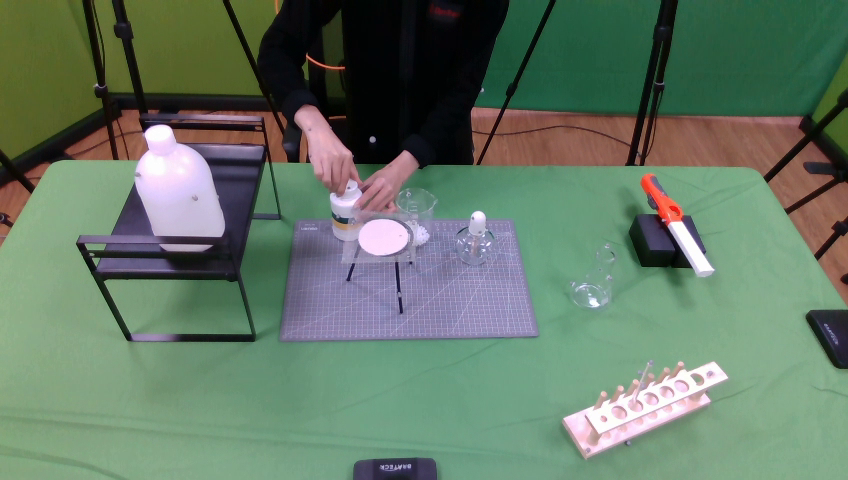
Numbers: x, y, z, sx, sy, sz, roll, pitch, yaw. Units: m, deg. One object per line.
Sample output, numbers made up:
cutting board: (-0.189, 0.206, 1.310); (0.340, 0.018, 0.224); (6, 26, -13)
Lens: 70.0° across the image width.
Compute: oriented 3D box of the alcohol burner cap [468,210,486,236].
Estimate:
alcohol burner cap: (0.099, -0.034, 1.119); (0.034, 0.048, 0.033); (0, 53, 0)

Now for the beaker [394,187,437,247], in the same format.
beaker: (-0.018, -0.042, 1.179); (0.084, 0.101, 0.073); (-8, 48, -13)

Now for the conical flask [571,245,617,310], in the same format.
conical flask: (0.313, 0.064, 1.089); (0.075, 0.122, 0.075); (2, 46, -2)

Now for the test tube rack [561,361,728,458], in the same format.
test tube rack: (0.341, 0.248, 0.940); (0.243, 0.085, 0.066); (-15, 48, -18)

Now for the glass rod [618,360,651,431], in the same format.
glass rod: (0.298, 0.227, 0.865); (0.008, 0.201, 0.008); (-1, 48, 2)

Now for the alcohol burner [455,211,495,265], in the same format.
alcohol burner: (0.097, -0.010, 1.147); (0.078, 0.120, 0.077); (1, 47, 0)

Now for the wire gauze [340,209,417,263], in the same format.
wire gauze: (-0.074, -0.006, 1.023); (0.121, 0.011, 0.124); (3, 46, 0)

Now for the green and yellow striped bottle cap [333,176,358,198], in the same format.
green and yellow striped bottle cap: (-0.147, -0.100, 1.133); (0.045, 0.020, 0.045); (4, 43, -3)

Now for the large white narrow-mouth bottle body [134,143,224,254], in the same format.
large white narrow-mouth bottle body: (-0.358, -0.075, 0.875); (0.102, 0.195, 0.101); (1, 48, -1)

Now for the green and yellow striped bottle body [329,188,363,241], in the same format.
green and yellow striped bottle body: (-0.150, -0.060, 1.172); (0.063, 0.120, 0.063); (2, 46, -2)

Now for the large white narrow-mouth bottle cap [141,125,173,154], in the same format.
large white narrow-mouth bottle cap: (-0.356, -0.134, 0.810); (0.038, 0.024, 0.037); (2, 48, -1)

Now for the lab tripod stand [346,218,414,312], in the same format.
lab tripod stand: (-0.070, 0.037, 1.075); (0.148, 0.132, 0.147); (1, 47, -1)

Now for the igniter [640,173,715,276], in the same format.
igniter: (0.495, -0.039, 1.204); (0.057, 0.025, 0.274); (-2, 47, -12)
